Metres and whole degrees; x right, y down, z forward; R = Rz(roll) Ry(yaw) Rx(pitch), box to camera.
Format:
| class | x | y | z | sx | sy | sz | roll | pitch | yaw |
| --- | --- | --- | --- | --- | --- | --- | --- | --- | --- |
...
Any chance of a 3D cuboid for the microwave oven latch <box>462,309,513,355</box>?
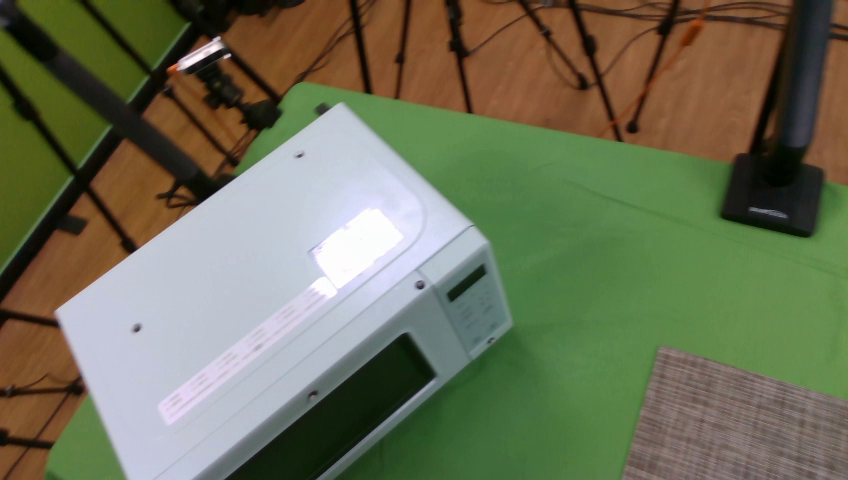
| class | x | y | z | sx | sy | sz | roll | pitch | yaw |
| --- | --- | --- | --- | --- | --- | --- | --- | --- | --- |
| microwave oven latch | 0.084 | 0.118 | 0.820 | 0.079 | 0.030 | 0.030 | -38 | 59 | -7 |

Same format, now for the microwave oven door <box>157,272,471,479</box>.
| class | x | y | z | sx | sy | sz | roll | pitch | yaw |
| --- | --- | --- | --- | --- | --- | --- | --- | --- | --- |
| microwave oven door | -0.110 | 0.203 | 0.702 | 0.355 | 0.246 | 0.039 | -39 | 58 | -9 |

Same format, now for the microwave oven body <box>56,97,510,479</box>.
| class | x | y | z | sx | sy | sz | roll | pitch | yaw |
| --- | --- | --- | --- | --- | --- | --- | --- | --- | --- |
| microwave oven body | -0.163 | 0.090 | 0.787 | 0.441 | 0.263 | 0.322 | -39 | 59 | -8 |
